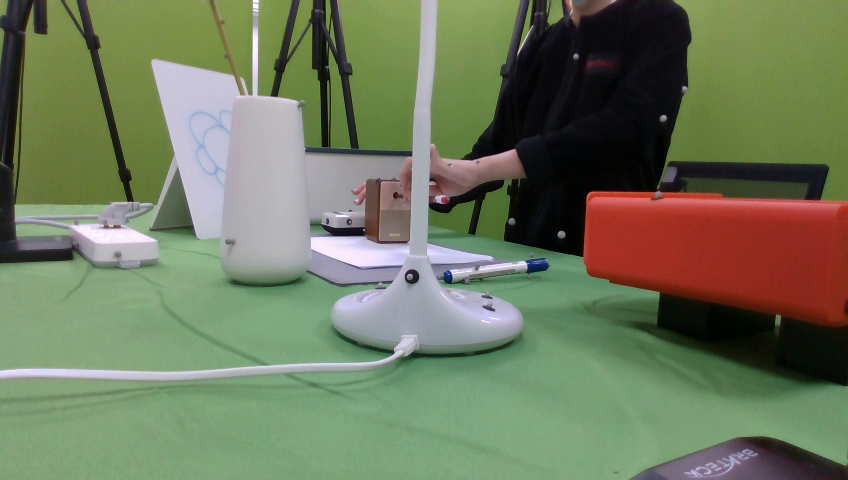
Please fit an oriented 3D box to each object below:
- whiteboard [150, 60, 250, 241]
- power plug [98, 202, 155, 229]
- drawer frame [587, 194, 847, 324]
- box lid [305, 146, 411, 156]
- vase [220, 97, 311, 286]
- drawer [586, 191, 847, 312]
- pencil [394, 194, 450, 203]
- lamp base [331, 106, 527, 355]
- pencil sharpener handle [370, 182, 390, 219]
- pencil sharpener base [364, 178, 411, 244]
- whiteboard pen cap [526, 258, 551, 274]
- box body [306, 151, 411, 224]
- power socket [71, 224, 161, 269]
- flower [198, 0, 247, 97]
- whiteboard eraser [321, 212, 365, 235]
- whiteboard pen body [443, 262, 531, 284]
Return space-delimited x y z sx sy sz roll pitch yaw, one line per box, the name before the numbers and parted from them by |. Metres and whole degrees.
whiteboard | -0.408 -0.139 1.093 0.143 0.305 0.218 -15 -1 26
power plug | -0.416 -0.027 0.848 0.073 0.052 0.035 0 8 -28
drawer frame | 0.285 0.004 0.508 0.203 0.082 0.212 -1 6 -29
box lid | -0.229 -0.200 1.361 0.373 0.015 0.262 -3 9 -32
vase | -0.172 -0.052 0.662 0.098 0.200 0.098 3 8 0
drawer | 0.281 0.001 0.513 0.195 0.073 0.210 -1 8 -29
pencil | -0.011 -0.065 0.930 0.012 0.012 0.193 -2 6 -27
lamp base | 0.006 -0.012 0.478 0.161 0.180 0.179 2 10 2
pencil sharpener handle | -0.080 -0.070 1.077 0.036 0.068 0.030 -16 14 -22
pencil sharpener base | -0.063 -0.051 1.031 0.061 0.107 0.076 -1 8 -25
whiteboard pen cap | 0.141 0.033 0.759 0.033 0.018 0.018 -8 11 -26
box body | -0.230 -0.126 1.371 0.366 0.160 0.253 -2 9 -33
power socket | -0.408 0.004 0.793 0.072 0.032 0.225 -2 8 -38
flower | -0.187 -0.133 0.648 0.038 0.362 0.044 0 22 43
whiteboard eraser | -0.127 -0.031 1.108 0.113 0.042 0.055 -3 7 -38
whiteboard pen body | 0.088 0.038 0.734 0.141 0.017 0.017 -5 10 -27
